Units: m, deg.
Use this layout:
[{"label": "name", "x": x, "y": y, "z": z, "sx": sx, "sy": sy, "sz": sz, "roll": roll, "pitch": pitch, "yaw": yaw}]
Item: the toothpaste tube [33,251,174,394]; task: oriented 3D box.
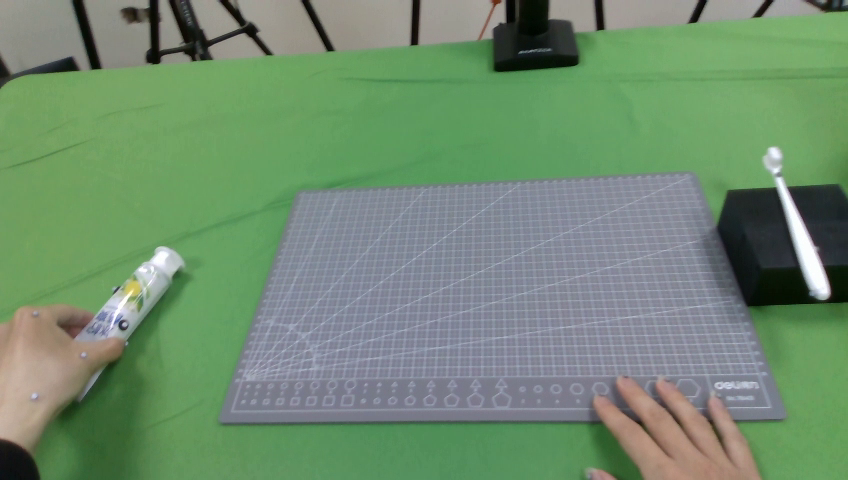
[{"label": "toothpaste tube", "x": -0.296, "y": 0.070, "z": 0.581, "sx": 0.055, "sy": 0.035, "sz": 0.164, "roll": 8, "pitch": 47, "yaw": 18}]

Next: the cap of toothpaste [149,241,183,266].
[{"label": "cap of toothpaste", "x": -0.269, "y": 0.016, "z": 0.630, "sx": 0.037, "sy": 0.038, "sz": 0.011, "roll": 8, "pitch": 47, "yaw": 17}]

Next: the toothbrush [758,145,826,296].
[{"label": "toothbrush", "x": 0.319, "y": -0.024, "z": 0.528, "sx": 0.014, "sy": 0.017, "sz": 0.180, "roll": 4, "pitch": 47, "yaw": 7}]
